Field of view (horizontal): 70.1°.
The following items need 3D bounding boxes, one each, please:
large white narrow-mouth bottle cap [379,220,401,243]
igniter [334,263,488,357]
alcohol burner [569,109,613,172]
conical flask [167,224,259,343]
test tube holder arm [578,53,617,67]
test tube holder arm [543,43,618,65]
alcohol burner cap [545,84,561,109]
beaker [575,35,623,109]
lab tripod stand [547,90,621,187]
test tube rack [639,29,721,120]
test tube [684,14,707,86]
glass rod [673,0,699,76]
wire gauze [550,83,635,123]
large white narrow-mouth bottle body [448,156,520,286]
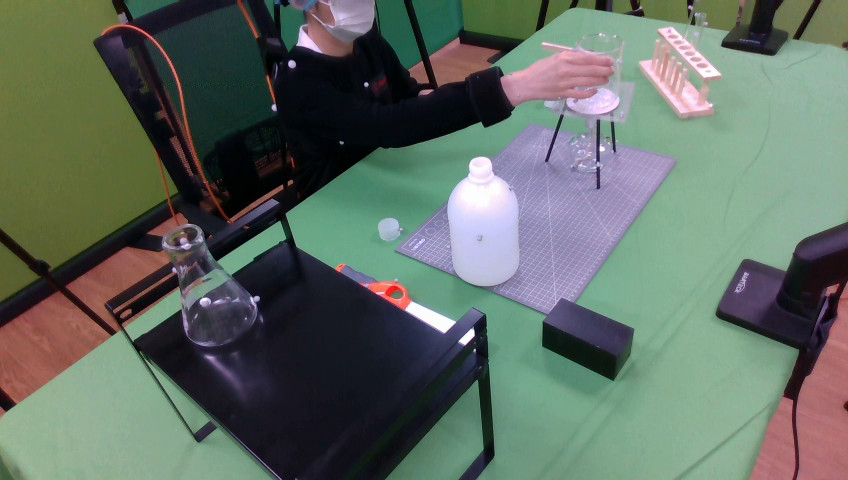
[{"bbox_3d":[-0.057,-0.015,1.011,0.038,0.024,0.037,-4,40,4],"label":"large white narrow-mouth bottle cap"},{"bbox_3d":[-0.030,0.095,0.872,0.274,0.025,0.057,23,60,31],"label":"igniter"},{"bbox_3d":[0.298,-0.181,1.073,0.078,0.119,0.077,-5,43,5],"label":"alcohol burner"},{"bbox_3d":[-0.220,0.041,0.613,0.075,0.122,0.075,-5,40,4],"label":"conical flask"},{"bbox_3d":[0.376,-0.393,1.314,0.087,0.015,0.010,26,51,32],"label":"test tube holder arm"},{"bbox_3d":[0.345,-0.413,1.341,0.177,0.015,0.013,25,50,32],"label":"test tube holder arm"},{"bbox_3d":[0.274,-0.307,1.285,0.034,0.048,0.033,-5,42,5],"label":"alcohol burner cap"},{"bbox_3d":[0.285,-0.273,0.988,0.073,0.101,0.084,16,47,27],"label":"beaker"},{"bbox_3d":[0.289,-0.184,1.062,0.148,0.132,0.147,-6,41,6],"label":"lab tripod stand"},{"bbox_3d":[0.527,-0.351,1.262,0.067,0.085,0.241,-8,40,1],"label":"test tube rack"},{"bbox_3d":[0.541,-0.379,1.216,0.017,0.151,0.017,-2,44,2],"label":"test tube"},{"bbox_3d":[0.541,-0.427,1.246,0.008,0.200,0.008,-1,48,1],"label":"glass rod"},{"bbox_3d":[0.285,-0.236,1.021,0.124,0.011,0.121,10,43,23],"label":"wire gauze"},{"bbox_3d":[0.086,-0.032,0.869,0.102,0.195,0.101,-4,40,4],"label":"large white narrow-mouth bottle body"}]
